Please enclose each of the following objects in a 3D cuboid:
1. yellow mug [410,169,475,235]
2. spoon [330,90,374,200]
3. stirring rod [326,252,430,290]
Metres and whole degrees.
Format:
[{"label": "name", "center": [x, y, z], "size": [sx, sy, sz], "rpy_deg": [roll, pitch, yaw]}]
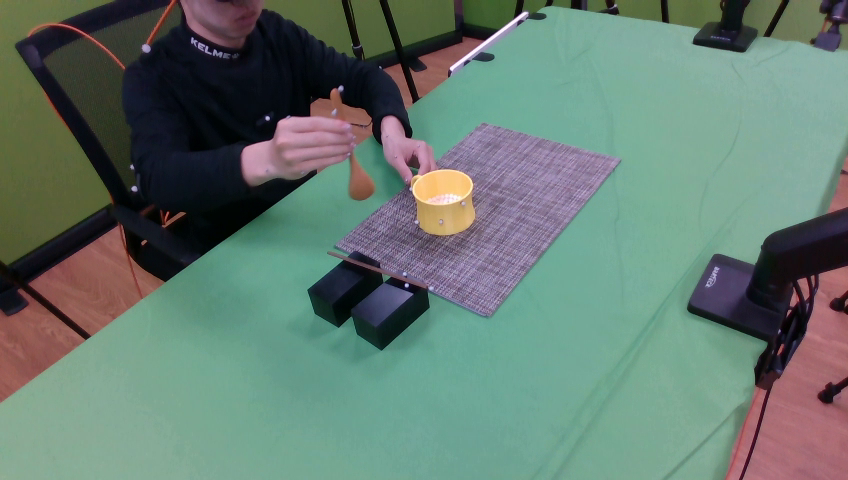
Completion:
[{"label": "yellow mug", "center": [0.022, -0.070, 1.007], "size": [0.129, 0.064, 0.100], "rpy_deg": [29, 52, 36]}, {"label": "spoon", "center": [-0.104, -0.125, 0.836], "size": [0.042, 0.195, 0.021], "rpy_deg": [-20, 45, -7]}, {"label": "stirring rod", "center": [-0.068, 0.043, 0.859], "size": [0.175, 0.006, 0.014], "rpy_deg": [17, 11, 26]}]
